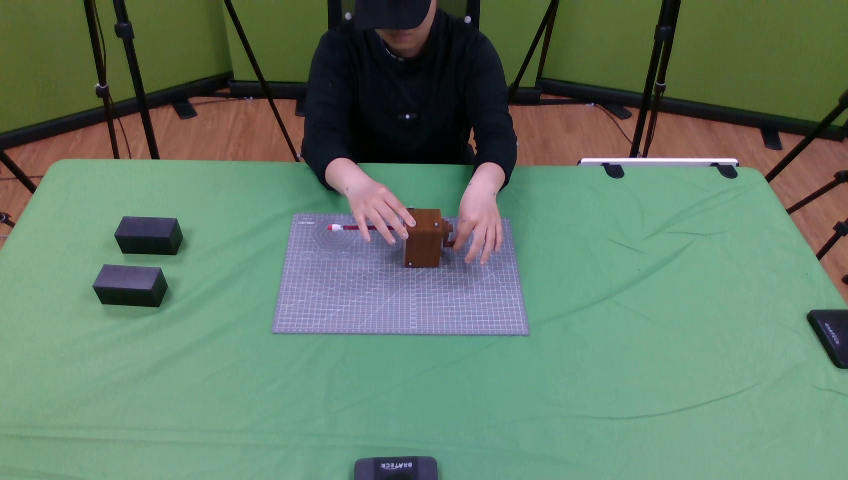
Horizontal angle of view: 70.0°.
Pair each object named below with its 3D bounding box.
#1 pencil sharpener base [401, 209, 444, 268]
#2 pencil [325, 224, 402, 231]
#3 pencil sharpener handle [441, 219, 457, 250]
[{"bbox_3d":[-0.004,-0.002,1.136,0.077,0.107,0.061,0,46,-5],"label":"pencil sharpener base"},{"bbox_3d":[-0.083,-0.022,1.110,0.194,0.012,0.012,1,45,-6],"label":"pencil"},{"bbox_3d":[0.048,-0.010,1.131,0.031,0.068,0.036,-1,39,-5],"label":"pencil sharpener handle"}]
